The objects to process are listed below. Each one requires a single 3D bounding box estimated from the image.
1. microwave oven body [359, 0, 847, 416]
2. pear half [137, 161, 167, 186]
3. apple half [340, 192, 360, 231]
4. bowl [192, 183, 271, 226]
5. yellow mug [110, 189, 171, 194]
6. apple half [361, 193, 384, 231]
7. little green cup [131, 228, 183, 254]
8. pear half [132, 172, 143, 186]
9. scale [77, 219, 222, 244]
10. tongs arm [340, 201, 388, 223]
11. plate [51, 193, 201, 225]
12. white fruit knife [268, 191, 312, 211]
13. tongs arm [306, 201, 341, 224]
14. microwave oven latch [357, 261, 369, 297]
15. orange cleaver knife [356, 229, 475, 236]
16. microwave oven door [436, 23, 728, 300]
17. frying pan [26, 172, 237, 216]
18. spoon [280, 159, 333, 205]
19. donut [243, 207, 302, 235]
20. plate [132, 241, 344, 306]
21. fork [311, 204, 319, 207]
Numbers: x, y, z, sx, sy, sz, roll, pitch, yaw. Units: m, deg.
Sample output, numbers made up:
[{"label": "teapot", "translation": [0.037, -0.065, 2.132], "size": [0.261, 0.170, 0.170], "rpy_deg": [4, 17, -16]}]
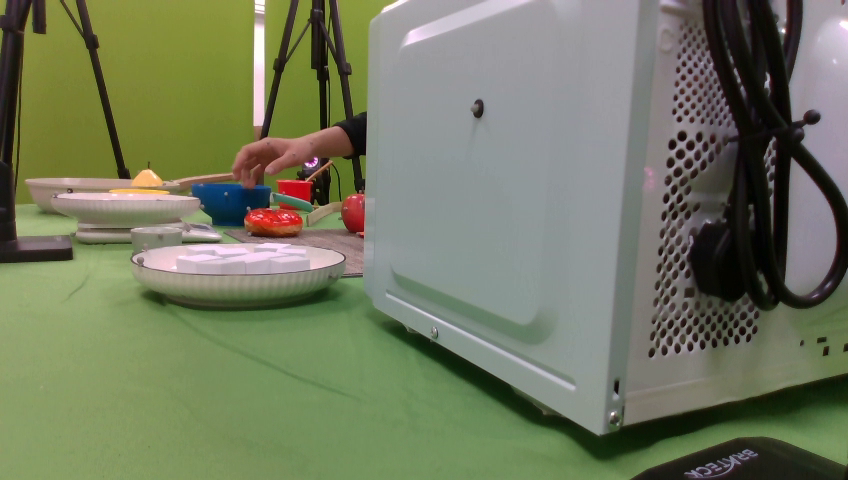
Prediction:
[{"label": "microwave oven body", "translation": [0.211, -0.047, 0.474], "size": [0.444, 0.260, 0.324], "rpy_deg": [-1, 7, -28]}, {"label": "pear half", "translation": [-0.602, -0.120, 1.354], "size": [0.056, 0.110, 0.076], "rpy_deg": [4, 11, 6]}, {"label": "apple half", "translation": [-0.130, -0.054, 1.144], "size": [0.053, 0.074, 0.081], "rpy_deg": [1, 10, 11]}, {"label": "bowl", "translation": [-0.382, -0.071, 1.202], "size": [0.151, 0.077, 0.151], "rpy_deg": [3, 7, 0]}, {"label": "yellow mug", "translation": [-0.519, -0.055, 1.080], "size": [0.099, 0.064, 0.131], "rpy_deg": [7, 10, 26]}, {"label": "apple half", "translation": [-0.092, -0.053, 1.135], "size": [0.033, 0.081, 0.081], "rpy_deg": [0, 7, 13]}, {"label": "little green cup", "translation": [-0.342, 0.006, 0.779], "size": [0.061, 0.038, 0.061], "rpy_deg": [2, 8, 0]}, {"label": "pear half", "translation": [-0.638, -0.113, 1.361], "size": [0.031, 0.088, 0.070], "rpy_deg": [5, 10, 4]}, {"label": "scale", "translation": [-0.434, -0.018, 0.963], "size": [0.202, 0.031, 0.148], "rpy_deg": [-1, 8, -27]}, {"label": "tongs arm", "translation": [-0.149, -0.069, 1.429], "size": [0.051, 0.026, 0.383], "rpy_deg": [-4, 8, -15]}, {"label": "plate", "translation": [-0.460, -0.050, 0.945], "size": [0.209, 0.038, 0.209], "rpy_deg": [2, 7, 0]}, {"label": "white fruit knife", "translation": [-0.364, -0.105, 1.464], "size": [0.208, 0.027, 0.016], "rpy_deg": [15, 0, -34]}, {"label": "tongs arm", "translation": [-0.235, -0.067, 1.414], "size": [0.028, 0.028, 0.387], "rpy_deg": [-5, 7, 1]}, {"label": "microwave oven latch", "translation": [-0.019, 0.033, 0.530], "size": [0.079, 0.029, 0.030], "rpy_deg": [-1, 7, -26]}, {"label": "orange cleaver knife", "translation": [-0.017, -0.014, 1.080], "size": [0.211, 0.012, 0.077], "rpy_deg": [0, 3, -3]}, {"label": "microwave oven door", "translation": [0.180, -0.073, 0.621], "size": [0.358, 0.243, 0.039], "rpy_deg": [-2, 9, -29]}, {"label": "frying pan", "translation": [-0.624, -0.118, 1.387], "size": [0.305, 0.102, 0.490], "rpy_deg": [8, 17, 32]}, {"label": "spoon", "translation": [-0.317, -0.159, 1.640], "size": [0.194, 0.022, 0.041], "rpy_deg": [-49, 32, -20]}, {"label": "donut", "translation": [-0.261, -0.032, 1.043], "size": [0.099, 0.048, 0.099], "rpy_deg": [5, 9, 0]}, {"label": "plate", "translation": [-0.187, 0.033, 0.625], "size": [0.208, 0.039, 0.207], "rpy_deg": [2, 7, 0]}, {"label": "fork", "translation": [-0.356, -0.105, 1.526], "size": [0.208, 0.018, 0.028], "rpy_deg": [16, -5, -41]}]
